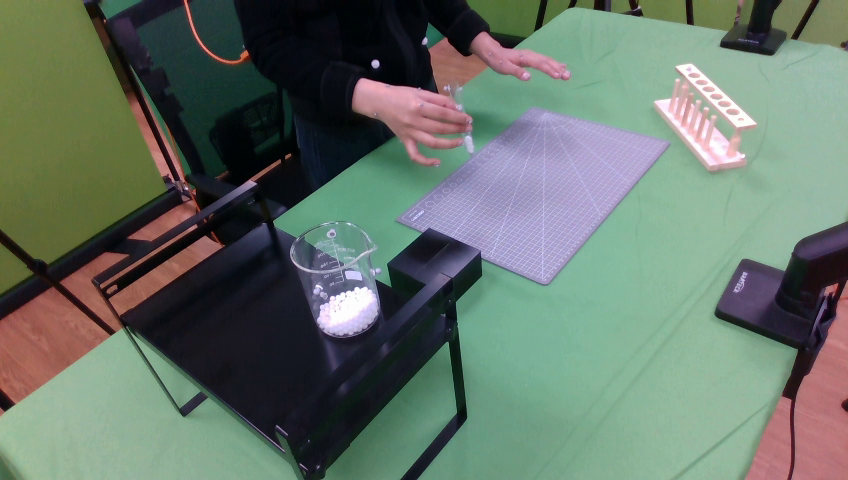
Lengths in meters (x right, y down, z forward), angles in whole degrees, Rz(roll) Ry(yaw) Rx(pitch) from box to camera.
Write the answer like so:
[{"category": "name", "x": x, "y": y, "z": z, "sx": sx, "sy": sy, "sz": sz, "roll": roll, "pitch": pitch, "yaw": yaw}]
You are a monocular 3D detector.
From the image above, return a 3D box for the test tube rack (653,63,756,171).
[{"category": "test tube rack", "x": 0.510, "y": -0.233, "z": 1.120, "sx": 0.067, "sy": 0.085, "sz": 0.241, "roll": -9, "pitch": 41, "yaw": -1}]

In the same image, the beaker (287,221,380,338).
[{"category": "beaker", "x": -0.083, "y": 0.042, "z": 0.602, "sx": 0.084, "sy": 0.101, "sz": 0.073, "roll": -5, "pitch": 41, "yaw": 3}]

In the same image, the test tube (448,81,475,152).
[{"category": "test tube", "x": 0.060, "y": -0.186, "z": 0.931, "sx": 0.017, "sy": 0.151, "sz": 0.017, "roll": -7, "pitch": 57, "yaw": 12}]
